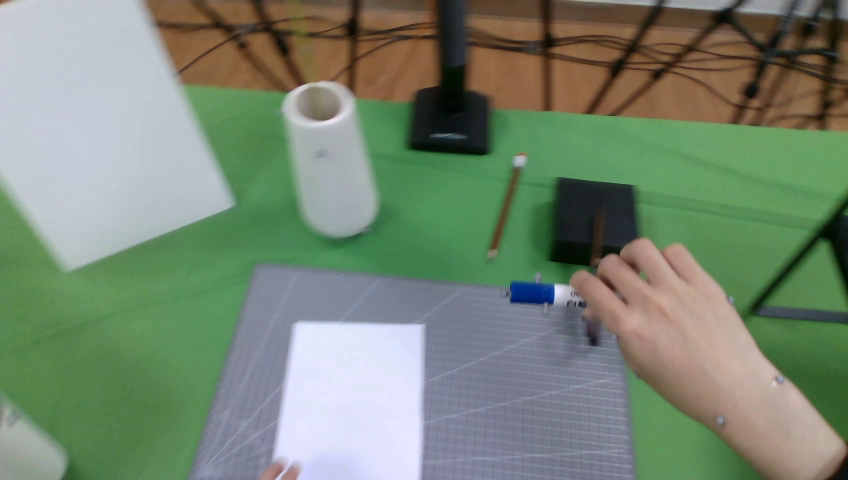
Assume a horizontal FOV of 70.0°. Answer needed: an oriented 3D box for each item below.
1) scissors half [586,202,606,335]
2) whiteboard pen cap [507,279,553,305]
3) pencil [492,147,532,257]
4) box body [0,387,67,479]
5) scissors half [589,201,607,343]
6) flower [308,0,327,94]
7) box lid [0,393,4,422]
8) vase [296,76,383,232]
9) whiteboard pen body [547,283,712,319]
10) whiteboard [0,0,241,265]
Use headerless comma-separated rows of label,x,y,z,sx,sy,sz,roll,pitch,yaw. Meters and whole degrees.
scissors half,0.202,0.027,0.697,0.013,0.040,0.174,3,56,23
whiteboard pen cap,0.077,0.038,0.441,0.033,0.018,0.018,6,56,2
pencil,0.118,-0.054,0.813,0.012,0.012,0.193,17,58,10
box body,-0.555,0.180,0.546,0.362,0.162,0.253,30,60,17
scissors half,0.210,0.035,0.714,0.012,0.040,0.174,1,74,27
flower,-0.107,-0.156,0.662,0.044,0.365,0.038,0,39,3
box lid,-0.556,0.137,0.485,0.369,0.015,0.262,30,60,17
vase,-0.102,-0.097,0.723,0.098,0.202,0.097,0,55,0
whiteboard pen body,0.136,0.043,0.438,0.141,0.017,0.017,5,56,2
whiteboard,-0.390,-0.163,0.732,0.217,0.308,0.142,-23,40,-16
